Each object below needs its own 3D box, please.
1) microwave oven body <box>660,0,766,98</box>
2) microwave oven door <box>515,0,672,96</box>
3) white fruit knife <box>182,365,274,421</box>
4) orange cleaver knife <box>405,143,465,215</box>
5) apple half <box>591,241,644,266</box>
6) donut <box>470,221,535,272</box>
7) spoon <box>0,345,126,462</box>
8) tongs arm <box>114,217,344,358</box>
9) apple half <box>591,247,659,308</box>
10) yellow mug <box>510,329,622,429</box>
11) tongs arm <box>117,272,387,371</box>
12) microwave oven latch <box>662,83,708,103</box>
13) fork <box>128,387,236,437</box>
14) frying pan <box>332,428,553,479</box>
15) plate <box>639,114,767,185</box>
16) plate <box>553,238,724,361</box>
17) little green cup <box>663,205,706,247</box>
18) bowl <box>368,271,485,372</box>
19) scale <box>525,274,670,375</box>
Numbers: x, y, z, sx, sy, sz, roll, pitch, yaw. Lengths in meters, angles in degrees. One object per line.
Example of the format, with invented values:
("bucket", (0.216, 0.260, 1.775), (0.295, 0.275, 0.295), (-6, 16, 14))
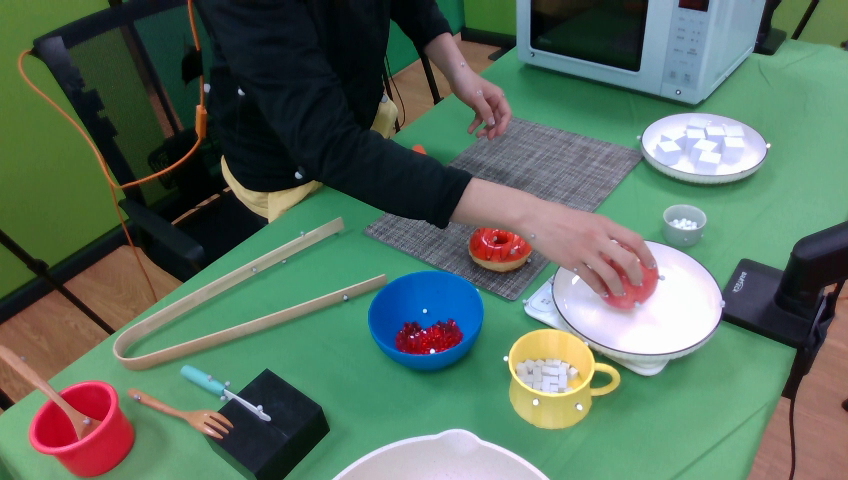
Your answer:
("microwave oven body", (0.472, -0.513, 1.317), (0.438, 0.261, 0.327), (26, 51, 34))
("microwave oven door", (0.343, -0.455, 1.259), (0.353, 0.245, 0.039), (26, 51, 33))
("white fruit knife", (-0.245, 0.188, 0.747), (0.205, 0.027, 0.016), (9, 40, 41))
("orange cleaver knife", (0.005, -0.113, 1.103), (0.077, 0.012, 0.209), (-24, 45, -9))
("apple half", (0.251, 0.030, 0.782), (0.081, 0.081, 0.032), (-5, 36, 3))
("donut", (0.119, 0.009, 0.923), (0.099, 0.048, 0.098), (-3, 39, 3))
("spoon", (-0.434, 0.191, 0.720), (0.194, 0.021, 0.042), (47, 53, -6))
("tongs arm", (-0.280, 0.067, 0.927), (0.386, 0.026, 0.050), (-29, 48, -23))
("apple half", (0.252, 0.052, 0.751), (0.081, 0.075, 0.053), (-2, 37, 2))
("yellow mug", (0.169, 0.164, 0.721), (0.130, 0.064, 0.099), (0, 40, 8))
("tongs arm", (-0.237, 0.114, 0.870), (0.389, 0.028, 0.028), (-18, 48, -12))
("microwave oven latch", (0.518, -0.296, 1.204), (0.078, 0.029, 0.030), (28, 52, 35))
("fork", (-0.305, 0.207, 0.744), (0.206, 0.019, 0.028), (3, 40, 36))
("frying pan", (-0.089, 0.306, 0.564), (0.487, 0.103, 0.306), (10, 41, 7))
("plate", (0.489, -0.157, 1.074), (0.207, 0.039, 0.206), (-4, 40, 4))
("plate", (0.273, 0.078, 0.783), (0.209, 0.038, 0.208), (-4, 41, 4))
("little green cup", (0.396, -0.020, 0.926), (0.061, 0.039, 0.061), (-4, 40, 4))
("bowl", (0.007, 0.119, 0.791), (0.151, 0.077, 0.150), (-5, 39, 4))
("scale", (0.254, 0.092, 0.821), (0.199, 0.032, 0.149), (28, 51, 35))
